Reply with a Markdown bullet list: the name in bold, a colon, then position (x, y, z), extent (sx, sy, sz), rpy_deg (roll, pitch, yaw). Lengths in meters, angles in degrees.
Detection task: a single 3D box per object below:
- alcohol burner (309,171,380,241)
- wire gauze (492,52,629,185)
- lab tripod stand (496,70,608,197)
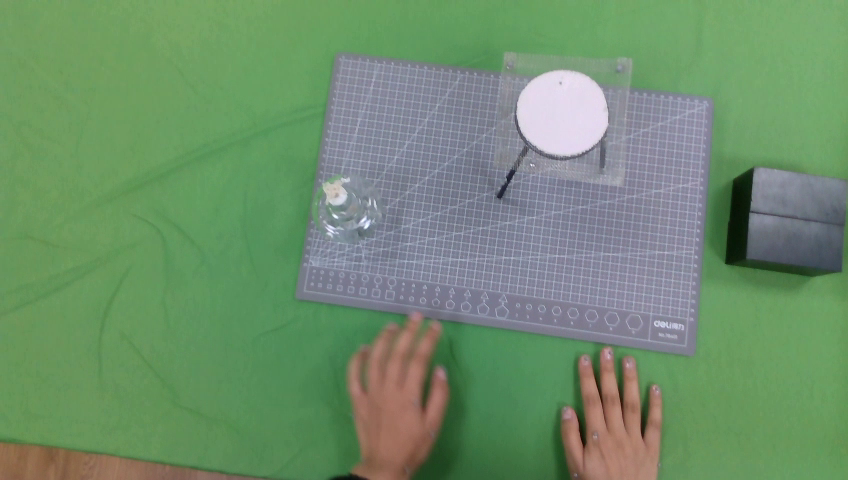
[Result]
- **alcohol burner**: position (-0.087, -0.039, 0.646), extent (0.078, 0.119, 0.077), rpy_deg (0, 83, 2)
- **wire gauze**: position (0.130, -0.119, 0.574), extent (0.125, 0.011, 0.121), rpy_deg (7, 81, 3)
- **lab tripod stand**: position (0.131, -0.114, 0.641), extent (0.148, 0.132, 0.148), rpy_deg (-1, 81, 4)
